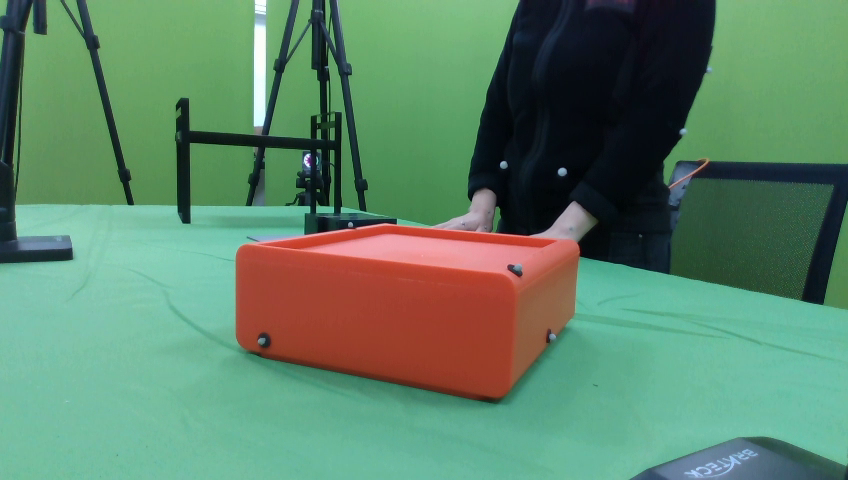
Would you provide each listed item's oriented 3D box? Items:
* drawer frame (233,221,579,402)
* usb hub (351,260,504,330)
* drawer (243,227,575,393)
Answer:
[{"bbox_3d":[0.001,0.038,0.475,0.201,0.082,0.214,6,9,22],"label":"drawer frame"},{"bbox_3d":[0.002,0.046,0.510,0.124,0.025,0.050,16,0,28],"label":"usb hub"},{"bbox_3d":[0.002,0.041,0.477,0.194,0.073,0.212,6,10,22],"label":"drawer"}]
